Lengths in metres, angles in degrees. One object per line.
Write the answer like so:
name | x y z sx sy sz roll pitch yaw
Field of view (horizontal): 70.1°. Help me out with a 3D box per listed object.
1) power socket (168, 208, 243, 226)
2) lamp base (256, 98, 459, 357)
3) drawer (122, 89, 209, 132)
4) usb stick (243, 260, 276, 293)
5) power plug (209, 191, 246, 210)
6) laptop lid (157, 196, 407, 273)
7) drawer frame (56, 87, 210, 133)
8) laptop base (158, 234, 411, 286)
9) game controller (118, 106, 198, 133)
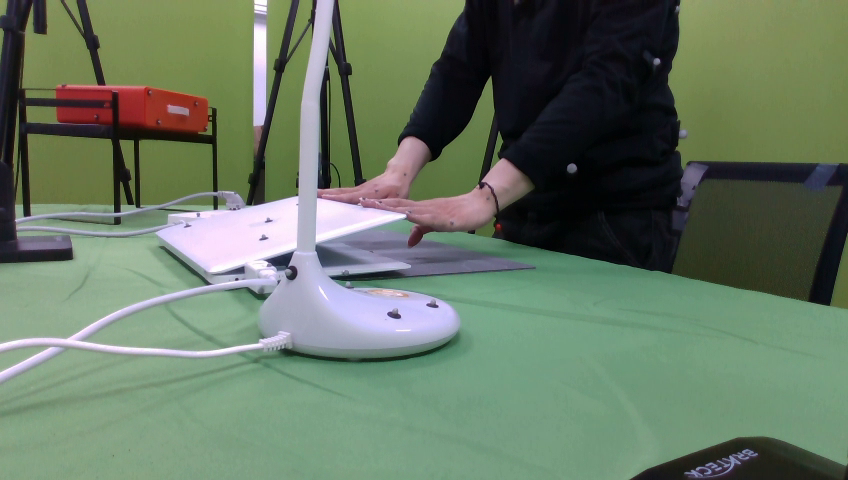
power socket | -0.381 -0.038 1.128 0.072 0.032 0.227 4 8 16
lamp base | -0.055 -0.013 0.463 0.160 0.180 0.180 6 11 27
drawer | -0.595 -0.268 1.263 0.211 0.073 0.195 4 8 15
usb stick | -0.166 0.035 0.604 0.021 0.027 0.059 -8 8 -28
power plug | -0.388 -0.071 1.204 0.072 0.052 0.035 4 8 26
laptop lid | -0.205 -0.021 0.799 0.243 0.013 0.355 -17 16 -28
drawer frame | -0.598 -0.269 1.261 0.213 0.082 0.202 4 8 14
laptop base | -0.204 0.019 0.807 0.237 0.023 0.352 0 7 -33
game controller | -0.555 -0.251 1.255 0.097 0.051 0.155 9 12 18
